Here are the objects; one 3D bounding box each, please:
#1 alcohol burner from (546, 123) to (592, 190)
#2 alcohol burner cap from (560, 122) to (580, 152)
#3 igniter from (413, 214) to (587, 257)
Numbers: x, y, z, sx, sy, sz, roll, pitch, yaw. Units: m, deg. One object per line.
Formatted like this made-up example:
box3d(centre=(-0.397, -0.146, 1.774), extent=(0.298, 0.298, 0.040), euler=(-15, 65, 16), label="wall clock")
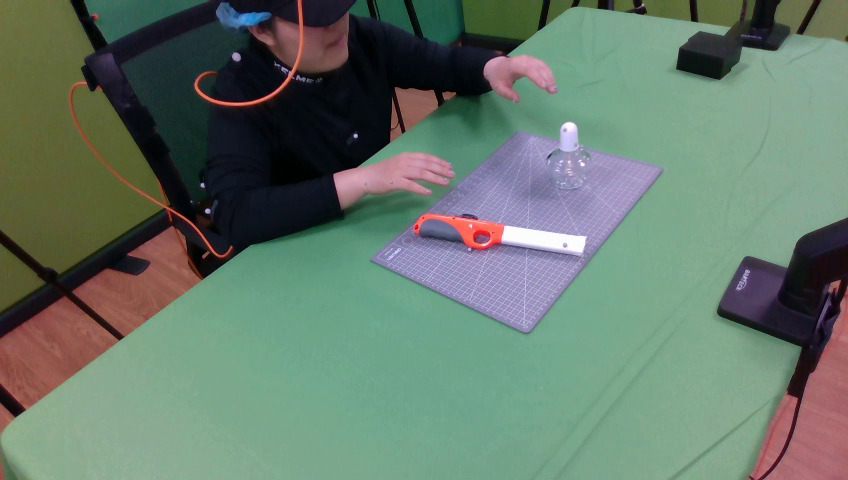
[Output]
box3d(centre=(0.248, -0.147, 1.034), extent=(0.078, 0.120, 0.077), euler=(-7, 41, 6), label="alcohol burner")
box3d(centre=(0.244, -0.174, 1.010), extent=(0.034, 0.048, 0.033), euler=(-8, 40, 7), label="alcohol burner cap")
box3d(centre=(0.116, -0.008, 0.959), extent=(0.275, 0.025, 0.057), euler=(8, 66, 17), label="igniter")
